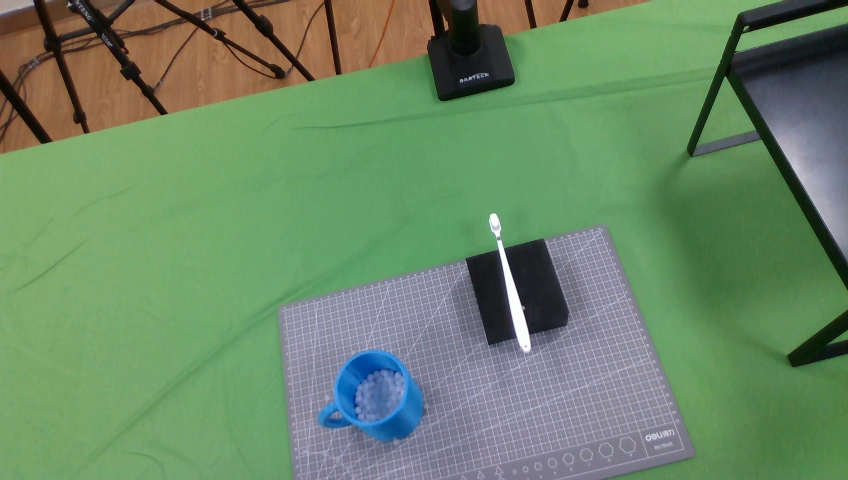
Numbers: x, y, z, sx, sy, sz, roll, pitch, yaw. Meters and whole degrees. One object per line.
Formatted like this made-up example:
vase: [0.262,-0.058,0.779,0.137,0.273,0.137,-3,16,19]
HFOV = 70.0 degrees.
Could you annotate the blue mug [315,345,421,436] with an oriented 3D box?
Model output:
blue mug: [-0.066,0.180,0.688,0.116,0.107,0.081,-22,63,-2]

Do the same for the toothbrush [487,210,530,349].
toothbrush: [0.100,0.043,0.722,0.014,0.017,0.180,-9,64,-4]
